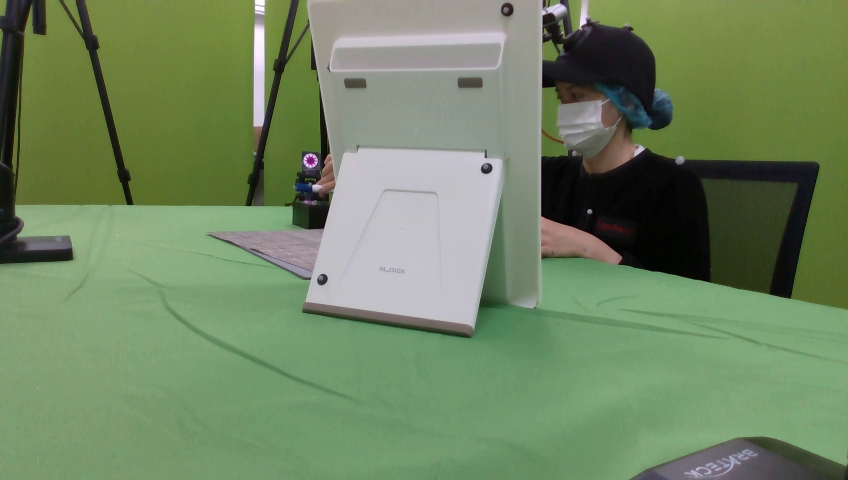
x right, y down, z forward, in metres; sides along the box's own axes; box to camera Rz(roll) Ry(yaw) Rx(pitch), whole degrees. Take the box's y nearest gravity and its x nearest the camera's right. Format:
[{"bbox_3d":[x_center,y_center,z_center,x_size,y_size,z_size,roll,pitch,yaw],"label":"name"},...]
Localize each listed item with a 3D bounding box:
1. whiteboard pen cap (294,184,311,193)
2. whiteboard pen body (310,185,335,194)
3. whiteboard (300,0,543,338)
[{"bbox_3d":[-0.241,-0.103,1.208,0.033,0.018,0.018,3,7,-17],"label":"whiteboard pen cap"},{"bbox_3d":[-0.183,-0.102,1.227,0.141,0.017,0.017,3,7,-17],"label":"whiteboard pen body"},{"bbox_3d":[-0.020,-0.050,0.523,0.216,0.305,0.144,6,27,22],"label":"whiteboard"}]
